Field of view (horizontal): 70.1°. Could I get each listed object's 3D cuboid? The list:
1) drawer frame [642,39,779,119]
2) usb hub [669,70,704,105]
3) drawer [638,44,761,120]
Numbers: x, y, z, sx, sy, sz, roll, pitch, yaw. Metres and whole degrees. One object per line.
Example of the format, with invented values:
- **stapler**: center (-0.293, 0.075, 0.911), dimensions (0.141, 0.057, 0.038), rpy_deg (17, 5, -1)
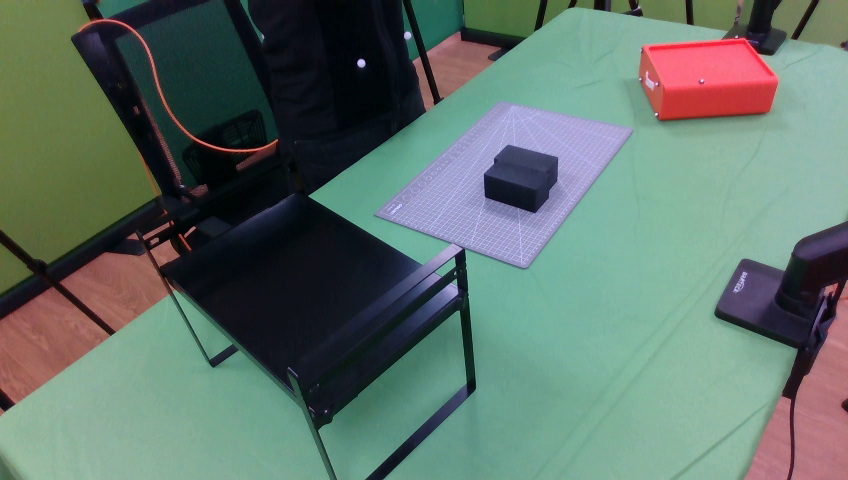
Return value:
- **drawer frame**: center (0.563, -0.329, 1.227), dimensions (0.213, 0.083, 0.201), rpy_deg (-2, 40, 5)
- **usb hub**: center (0.533, -0.310, 1.229), dimensions (0.049, 0.025, 0.125), rpy_deg (-9, 30, 19)
- **drawer**: center (0.561, -0.327, 1.230), dimensions (0.212, 0.073, 0.193), rpy_deg (-2, 41, 4)
